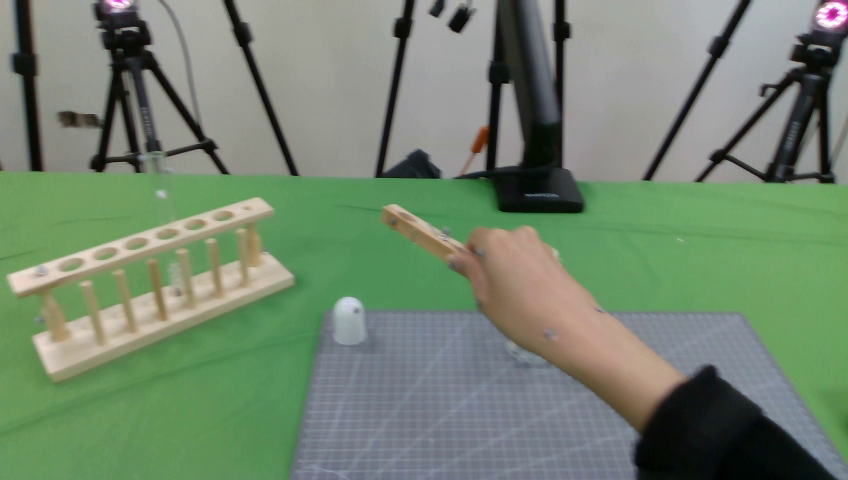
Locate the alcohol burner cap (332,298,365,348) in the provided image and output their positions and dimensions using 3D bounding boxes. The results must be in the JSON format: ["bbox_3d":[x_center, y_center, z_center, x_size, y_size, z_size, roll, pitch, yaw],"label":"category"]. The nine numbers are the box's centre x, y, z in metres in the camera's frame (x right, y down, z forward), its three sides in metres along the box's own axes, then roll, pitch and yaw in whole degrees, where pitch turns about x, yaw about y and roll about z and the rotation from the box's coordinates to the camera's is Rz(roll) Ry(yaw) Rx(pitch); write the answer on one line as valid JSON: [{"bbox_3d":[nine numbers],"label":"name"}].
[{"bbox_3d":[-0.075,0.079,0.597,0.034,0.048,0.033,1,34,0],"label":"alcohol burner cap"}]

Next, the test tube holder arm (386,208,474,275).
[{"bbox_3d":[0.005,0.000,0.468,0.087,0.015,0.010,31,38,28],"label":"test tube holder arm"}]

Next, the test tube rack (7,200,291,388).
[{"bbox_3d":[-0.261,0.044,0.610,0.243,0.086,0.066,-24,40,-34],"label":"test tube rack"}]

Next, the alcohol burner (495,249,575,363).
[{"bbox_3d":[0.107,0.057,0.571,0.078,0.120,0.077,2,34,-1],"label":"alcohol burner"}]

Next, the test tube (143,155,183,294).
[{"bbox_3d":[-0.258,-0.012,0.605,0.017,0.151,0.017,1,27,0],"label":"test tube"}]

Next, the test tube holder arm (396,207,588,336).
[{"bbox_3d":[0.043,0.019,0.452,0.177,0.015,0.013,31,37,27],"label":"test tube holder arm"}]
